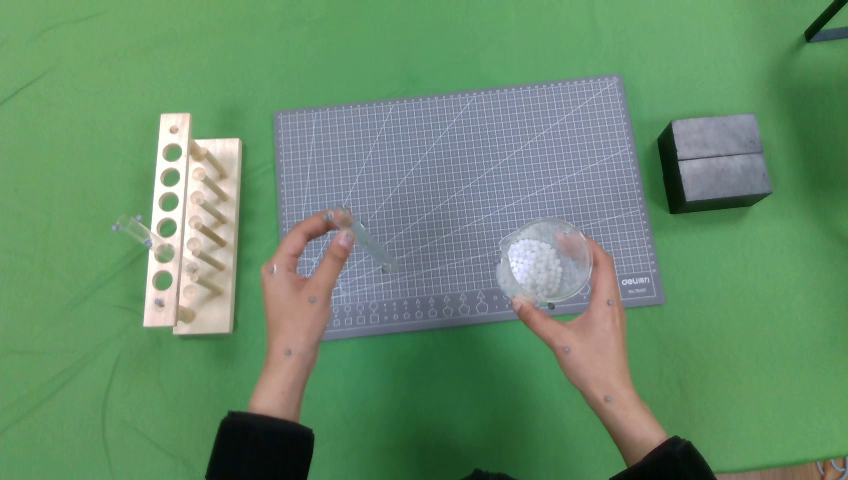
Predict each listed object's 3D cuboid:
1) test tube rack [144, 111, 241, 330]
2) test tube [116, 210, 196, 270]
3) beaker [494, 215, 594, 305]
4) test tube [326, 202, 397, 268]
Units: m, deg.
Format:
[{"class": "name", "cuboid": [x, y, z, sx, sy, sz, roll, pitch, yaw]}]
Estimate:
[{"class": "test tube rack", "cuboid": [-0.265, -0.021, 0.706, 0.067, 0.085, 0.241, -1, 77, 1]}, {"class": "test tube", "cuboid": [-0.282, 0.004, 0.650, 0.017, 0.151, 0.017, -1, 70, 4]}, {"class": "beaker", "cuboid": [0.103, 0.022, 0.563, 0.084, 0.100, 0.074, 20, 79, 2]}, {"class": "test tube", "cuboid": [-0.055, -0.001, 0.578, 0.017, 0.152, 0.017, -6, 69, 16]}]
